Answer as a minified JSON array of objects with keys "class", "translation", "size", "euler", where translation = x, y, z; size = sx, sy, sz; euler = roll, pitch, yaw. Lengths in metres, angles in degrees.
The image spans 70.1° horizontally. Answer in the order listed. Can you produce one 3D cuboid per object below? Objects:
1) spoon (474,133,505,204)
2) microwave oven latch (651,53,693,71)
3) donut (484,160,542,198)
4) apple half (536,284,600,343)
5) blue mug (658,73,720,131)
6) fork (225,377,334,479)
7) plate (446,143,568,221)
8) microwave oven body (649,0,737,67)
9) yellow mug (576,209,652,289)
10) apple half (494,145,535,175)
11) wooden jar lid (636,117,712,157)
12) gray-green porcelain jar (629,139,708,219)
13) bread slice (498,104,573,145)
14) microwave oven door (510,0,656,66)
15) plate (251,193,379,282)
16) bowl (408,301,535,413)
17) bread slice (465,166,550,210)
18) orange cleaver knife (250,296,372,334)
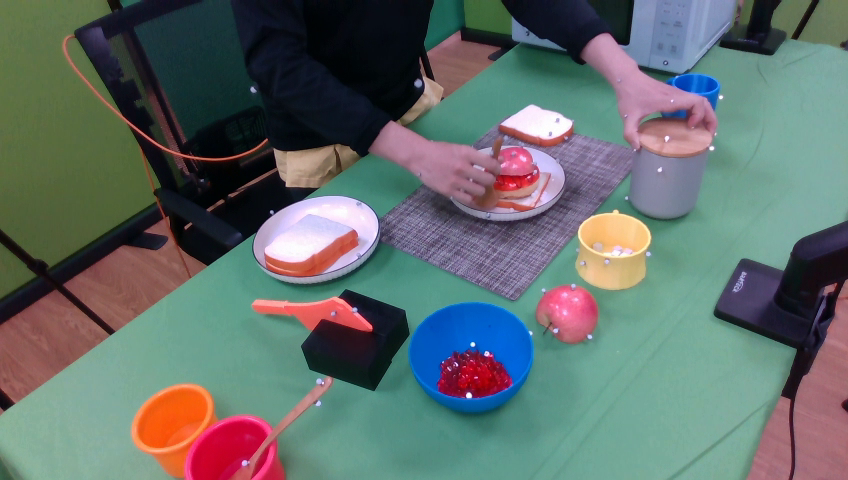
[{"class":"spoon","translation":[0.103,-0.105,0.925],"size":[0.041,0.194,0.021],"euler":[2,60,0]},{"class":"microwave oven latch","translation":[0.533,-0.387,1.301],"size":[0.078,0.029,0.030],"euler":[29,53,36]},{"class":"donut","translation":[0.149,-0.109,1.015],"size":[0.099,0.048,0.098],"euler":[-3,42,3]},{"class":"apple half","translation":[0.196,0.091,0.815],"size":[0.075,0.053,0.080],"euler":[-22,42,-20]},{"class":"blue mug","translation":[0.483,-0.250,1.127],"size":[0.082,0.106,0.115],"euler":[-26,44,-19]},{"class":"fork","translation":[-0.163,0.216,0.646],"size":[0.207,0.019,0.028],"euler":[-49,42,16]},{"class":"plate","translation":[0.142,-0.097,1.045],"size":[0.207,0.039,0.206],"euler":[-4,41,4]},{"class":"microwave oven body","translation":[0.475,-0.602,1.411],"size":[0.438,0.261,0.327],"euler":[23,50,32]},{"class":"yellow mug","translation":[0.279,0.004,0.893],"size":[0.099,0.064,0.130],"euler":[6,42,14]},{"class":"apple half","translation":[0.145,-0.138,0.994],"size":[0.081,0.033,0.081],"euler":[-2,35,2]},{"class":"wooden jar lid","translation":[0.377,-0.152,0.919],"size":[0.108,0.021,0.108],"euler":[-2,40,2]},{"class":"gray-green porcelain jar","translation":[0.384,-0.106,0.959],"size":[0.106,0.127,0.105],"euler":[-4,41,4]},{"class":"bread slice","translation":[0.230,-0.231,1.205],"size":[0.105,0.019,0.130],"euler":[-36,47,-29]},{"class":"microwave oven door","translation":[0.350,-0.539,1.348],"size":[0.353,0.245,0.039],"euler":[24,50,31]},{"class":"plate","translation":[-0.174,-0.001,0.984],"size":[0.209,0.038,0.208],"euler":[-4,40,4]},{"class":"bowl","translation":[0.060,0.156,0.739],"size":[0.151,0.077,0.150],"euler":[-4,40,4]},{"class":"bread slice","translation":[0.140,-0.093,1.044],"size":[0.134,0.018,0.107],"euler":[9,39,18]},{"class":"orange cleaver knife","translation":[-0.159,0.103,0.828],"size":[0.210,0.078,0.012],"euler":[-4,43,39]}]
